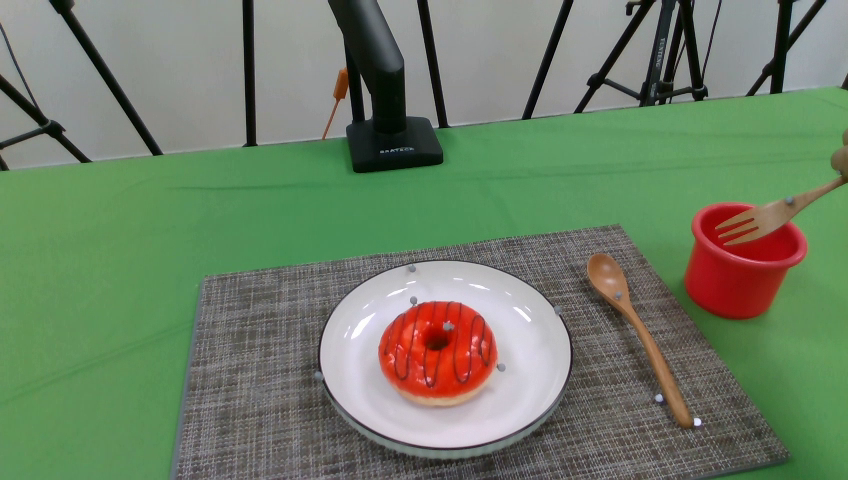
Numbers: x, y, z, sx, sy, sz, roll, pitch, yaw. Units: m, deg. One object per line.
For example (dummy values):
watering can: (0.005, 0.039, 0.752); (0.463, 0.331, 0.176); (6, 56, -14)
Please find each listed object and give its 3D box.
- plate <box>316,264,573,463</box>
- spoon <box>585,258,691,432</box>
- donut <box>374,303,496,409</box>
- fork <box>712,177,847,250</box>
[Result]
plate: (0.017, 0.098, 0.507); (0.209, 0.038, 0.207); (0, 37, 0)
spoon: (0.187, 0.084, 0.536); (0.042, 0.022, 0.191); (10, 34, -17)
donut: (0.009, 0.094, 0.495); (0.099, 0.048, 0.098); (-1, 41, 1)
fork: (0.344, -0.044, 0.499); (0.207, 0.019, 0.028); (-30, 57, 26)
